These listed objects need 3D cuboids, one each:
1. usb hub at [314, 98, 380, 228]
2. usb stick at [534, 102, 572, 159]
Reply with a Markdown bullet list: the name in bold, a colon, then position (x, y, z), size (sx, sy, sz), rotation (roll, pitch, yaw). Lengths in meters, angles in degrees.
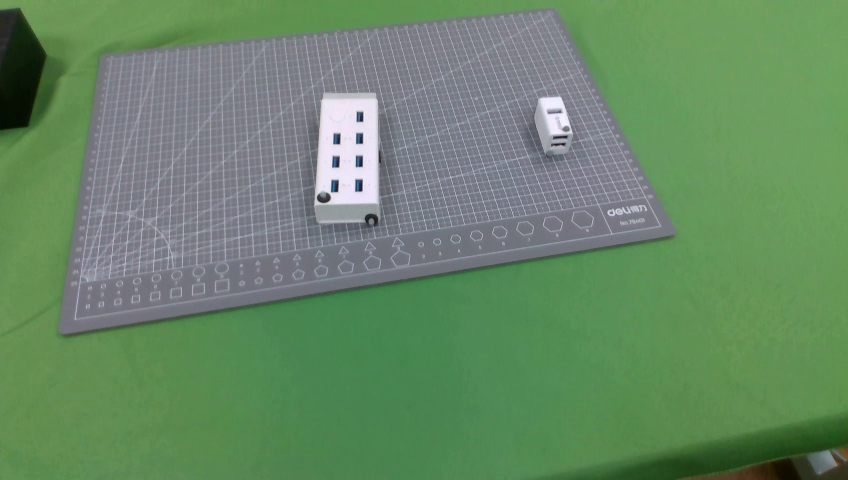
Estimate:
- **usb hub**: position (-0.061, -0.066, 0.492), size (0.049, 0.025, 0.124), rotation (-2, 54, -2)
- **usb stick**: position (0.109, -0.099, 0.521), size (0.021, 0.027, 0.058), rotation (-5, 52, -4)
